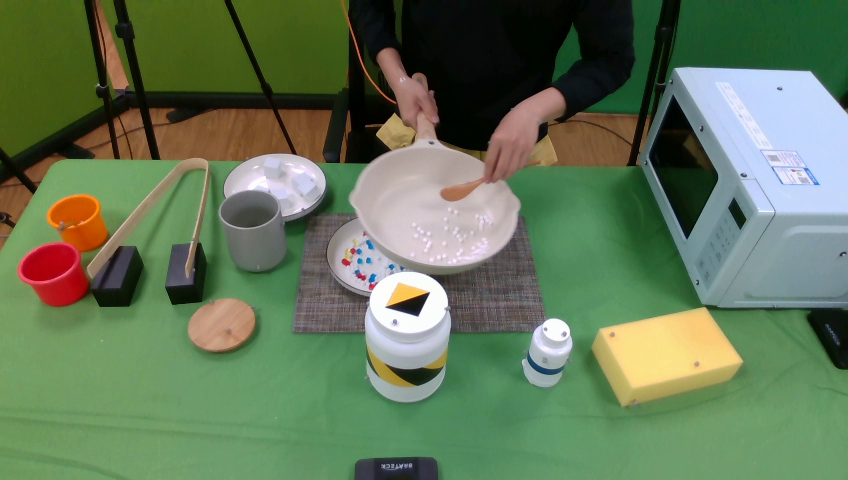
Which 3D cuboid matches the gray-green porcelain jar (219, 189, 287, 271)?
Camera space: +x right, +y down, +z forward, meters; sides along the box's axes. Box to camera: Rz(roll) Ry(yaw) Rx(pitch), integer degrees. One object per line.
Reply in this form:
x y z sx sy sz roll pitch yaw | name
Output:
-0.310 -0.014 1.113 0.106 0.127 0.105 2 46 -2 | gray-green porcelain jar

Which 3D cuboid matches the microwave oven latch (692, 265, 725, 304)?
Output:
0.522 0.081 1.116 0.030 0.029 0.078 1 46 -2 | microwave oven latch

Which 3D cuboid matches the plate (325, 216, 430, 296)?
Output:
-0.080 0.030 1.143 0.209 0.038 0.208 3 46 -3 | plate

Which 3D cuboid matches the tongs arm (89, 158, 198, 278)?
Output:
-0.529 -0.057 1.164 0.028 0.028 0.385 1 36 8 | tongs arm

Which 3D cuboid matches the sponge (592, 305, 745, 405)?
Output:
0.405 0.190 1.014 0.207 0.061 0.117 -10 48 -13 | sponge

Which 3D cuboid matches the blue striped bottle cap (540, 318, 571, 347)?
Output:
0.203 0.142 0.933 0.044 0.021 0.044 3 49 -3 | blue striped bottle cap

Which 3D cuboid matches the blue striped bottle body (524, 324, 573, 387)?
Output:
0.200 0.178 0.970 0.063 0.121 0.062 2 46 -2 | blue striped bottle body

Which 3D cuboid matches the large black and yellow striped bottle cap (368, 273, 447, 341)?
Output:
-0.023 0.094 0.875 0.115 0.019 0.114 2 45 -2 | large black and yellow striped bottle cap

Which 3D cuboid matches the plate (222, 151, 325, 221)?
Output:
-0.310 -0.106 1.262 0.208 0.039 0.206 2 47 -2 | plate

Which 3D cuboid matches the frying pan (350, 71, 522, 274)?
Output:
0.014 -0.142 1.143 0.307 0.103 0.485 1 59 -10 | frying pan

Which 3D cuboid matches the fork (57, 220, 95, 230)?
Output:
-0.624 -0.027 1.086 0.028 0.207 0.018 -3 92 -17 | fork

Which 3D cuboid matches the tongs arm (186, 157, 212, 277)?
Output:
-0.445 -0.058 1.168 0.051 0.026 0.382 -5 37 -6 | tongs arm

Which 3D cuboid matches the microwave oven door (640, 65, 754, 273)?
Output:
0.523 -0.147 1.193 0.039 0.245 0.353 0 47 -3 | microwave oven door

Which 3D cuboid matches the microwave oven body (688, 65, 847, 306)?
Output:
0.669 -0.111 1.176 0.326 0.261 0.439 0 46 -3 | microwave oven body

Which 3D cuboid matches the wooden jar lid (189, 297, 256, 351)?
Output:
-0.342 0.145 1.033 0.108 0.021 0.107 2 45 -2 | wooden jar lid

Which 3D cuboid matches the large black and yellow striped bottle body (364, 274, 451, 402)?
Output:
-0.026 0.151 0.937 0.131 0.185 0.130 2 47 -2 | large black and yellow striped bottle body

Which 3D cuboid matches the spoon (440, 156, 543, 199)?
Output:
0.122 -0.116 1.089 0.194 0.042 0.021 -23 51 0 | spoon
